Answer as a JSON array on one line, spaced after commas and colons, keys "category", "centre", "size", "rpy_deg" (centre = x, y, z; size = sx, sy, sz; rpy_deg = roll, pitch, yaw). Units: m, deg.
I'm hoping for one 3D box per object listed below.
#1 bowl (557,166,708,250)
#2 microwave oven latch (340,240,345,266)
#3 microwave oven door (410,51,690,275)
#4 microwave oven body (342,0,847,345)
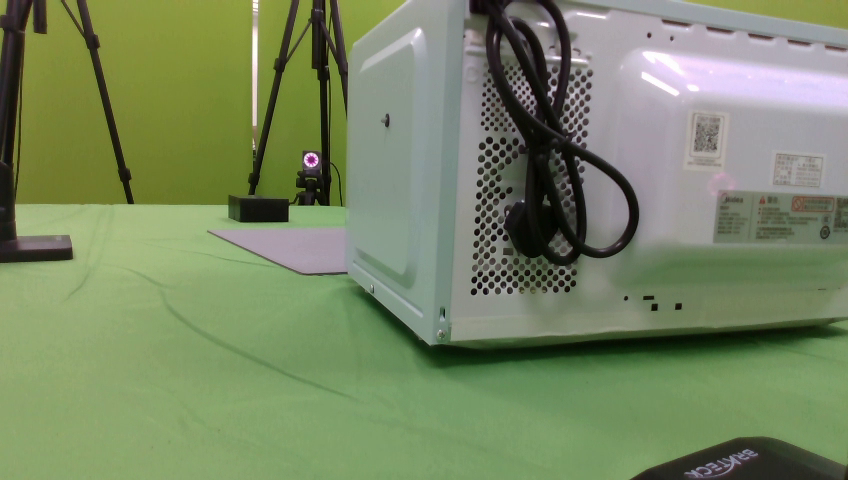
[{"category": "bowl", "centre": [0.214, -0.035, 0.640], "size": [0.151, 0.077, 0.151], "rpy_deg": [2, 11, 0]}, {"category": "microwave oven latch", "centre": [-0.052, 0.016, 0.662], "size": [0.079, 0.029, 0.030], "rpy_deg": [1, 7, -19]}, {"category": "microwave oven door", "centre": [0.161, -0.084, 0.723], "size": [0.357, 0.243, 0.039], "rpy_deg": [0, 8, -20]}, {"category": "microwave oven body", "centre": [0.169, -0.060, 0.573], "size": [0.444, 0.260, 0.324], "rpy_deg": [1, 7, -20]}]
